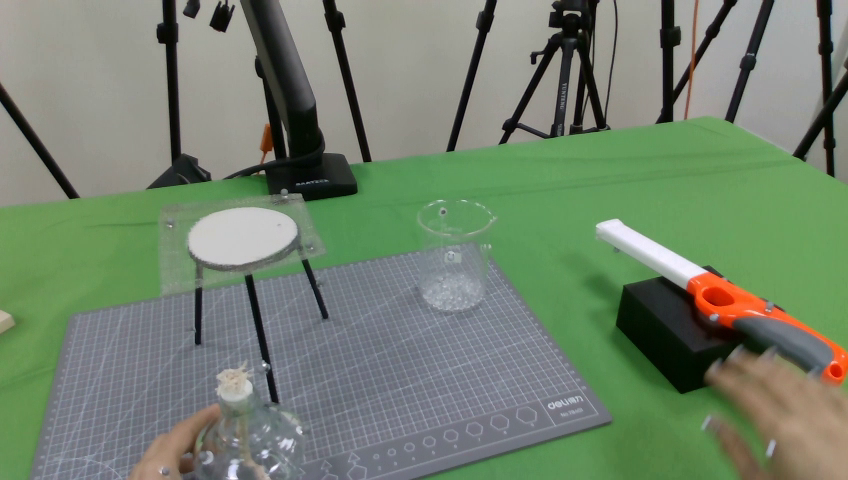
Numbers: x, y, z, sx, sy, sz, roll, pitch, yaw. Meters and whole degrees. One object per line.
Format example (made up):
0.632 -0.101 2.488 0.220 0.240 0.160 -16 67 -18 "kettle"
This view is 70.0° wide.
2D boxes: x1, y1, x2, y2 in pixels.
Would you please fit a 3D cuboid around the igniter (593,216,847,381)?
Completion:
0.259 0.041 0.563 0.057 0.025 0.273 -15 32 -22 "igniter"

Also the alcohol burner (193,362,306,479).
-0.123 0.131 0.424 0.078 0.120 0.077 1 32 0 "alcohol burner"

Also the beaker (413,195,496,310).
0.031 0.014 0.619 0.084 0.101 0.073 -6 34 -9 "beaker"

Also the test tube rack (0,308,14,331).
-0.496 0.096 0.508 0.066 0.086 0.241 16 36 23 "test tube rack"

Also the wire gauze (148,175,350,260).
-0.141 -0.020 0.485 0.125 0.011 0.120 -17 32 -37 "wire gauze"

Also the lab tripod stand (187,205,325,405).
-0.146 0.049 0.533 0.148 0.132 0.147 2 34 -1 "lab tripod stand"
